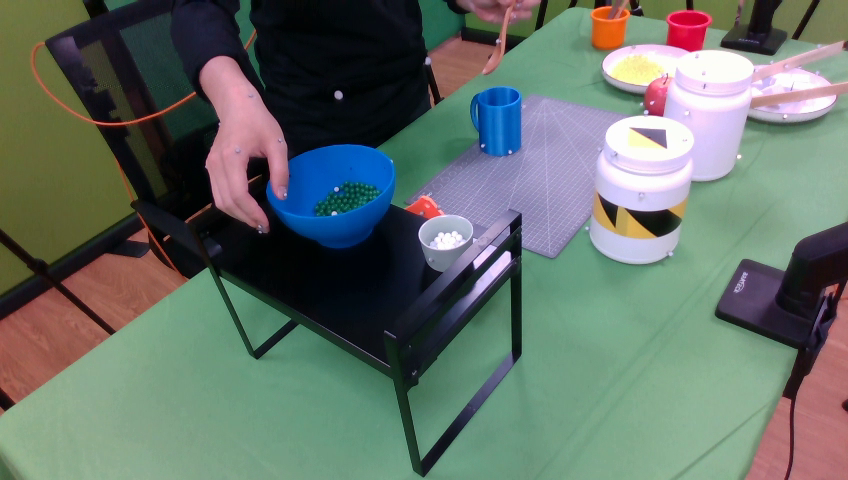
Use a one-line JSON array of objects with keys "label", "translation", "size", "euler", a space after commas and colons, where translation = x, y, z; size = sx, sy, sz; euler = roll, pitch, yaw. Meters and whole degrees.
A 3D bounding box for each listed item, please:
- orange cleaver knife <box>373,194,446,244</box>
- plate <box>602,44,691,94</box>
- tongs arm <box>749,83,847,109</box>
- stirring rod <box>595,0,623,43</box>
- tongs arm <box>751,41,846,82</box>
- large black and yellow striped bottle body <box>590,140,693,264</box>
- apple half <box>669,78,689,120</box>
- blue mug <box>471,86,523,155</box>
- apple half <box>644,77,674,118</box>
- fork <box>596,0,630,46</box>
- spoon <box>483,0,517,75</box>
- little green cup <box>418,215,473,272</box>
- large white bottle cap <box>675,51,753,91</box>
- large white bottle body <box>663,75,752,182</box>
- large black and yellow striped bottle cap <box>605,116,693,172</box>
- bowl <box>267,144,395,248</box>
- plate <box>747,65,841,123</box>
[{"label": "orange cleaver knife", "translation": [-0.032, -0.026, 0.964], "size": [0.210, 0.077, 0.012], "euler": [-10, 29, 51]}, {"label": "plate", "translation": [0.494, -0.367, 1.317], "size": [0.209, 0.038, 0.208], "euler": [-4, 40, 4]}, {"label": "tongs arm", "translation": [0.734, -0.280, 1.134], "size": [0.388, 0.028, 0.028], "euler": [-9, 47, -5]}, {"label": "stirring rod", "translation": [0.460, -0.556, 1.459], "size": [0.014, 0.006, 0.176], "euler": [30, 93, 23]}, {"label": "tongs arm", "translation": [0.708, -0.331, 1.194], "size": [0.386, 0.026, 0.050], "euler": [-18, 45, -16]}, {"label": "large black and yellow striped bottle body", "translation": [0.317, -0.071, 0.889], "size": [0.131, 0.185, 0.130], "euler": [-4, 41, 4]}, {"label": "apple half", "translation": [0.498, -0.273, 1.180], "size": [0.032, 0.082, 0.081], "euler": [7, 42, 25]}, {"label": "blue mug", "translation": [0.135, -0.235, 1.163], "size": [0.082, 0.106, 0.115], "euler": [-36, 48, -28]}, {"label": "apple half", "translation": [0.463, -0.279, 1.194], "size": [0.053, 0.075, 0.081], "euler": [8, 46, 24]}, {"label": "fork", "translation": [0.481, -0.556, 1.452], "size": [0.028, 0.019, 0.207], "euler": [40, 103, 40]}, {"label": "spoon", "translation": [0.138, -0.360, 0.982], "size": [0.022, 0.193, 0.041], "euler": [15, 13, -17]}, {"label": "little green cup", "translation": [0.026, 0.005, 0.678], "size": [0.061, 0.039, 0.061], "euler": [-4, 40, 4]}, {"label": "large white bottle cap", "translation": [0.463, -0.271, 0.967], "size": [0.115, 0.018, 0.114], "euler": [-4, 40, 4]}, {"label": "large white bottle body", "translation": [0.472, -0.207, 1.022], "size": [0.130, 0.185, 0.130], "euler": [-4, 41, 4]}, {"label": "large black and yellow striped bottle cap", "translation": [0.309, -0.134, 0.833], "size": [0.115, 0.019, 0.114], "euler": [-5, 40, 5]}, {"label": "bowl", "translation": [-0.104, -0.043, 0.726], "size": [0.151, 0.077, 0.150], "euler": [-4, 40, 4]}, {"label": "plate", "translation": [0.695, -0.282, 1.189], "size": [0.207, 0.039, 0.206], "euler": [-4, 40, 4]}]
